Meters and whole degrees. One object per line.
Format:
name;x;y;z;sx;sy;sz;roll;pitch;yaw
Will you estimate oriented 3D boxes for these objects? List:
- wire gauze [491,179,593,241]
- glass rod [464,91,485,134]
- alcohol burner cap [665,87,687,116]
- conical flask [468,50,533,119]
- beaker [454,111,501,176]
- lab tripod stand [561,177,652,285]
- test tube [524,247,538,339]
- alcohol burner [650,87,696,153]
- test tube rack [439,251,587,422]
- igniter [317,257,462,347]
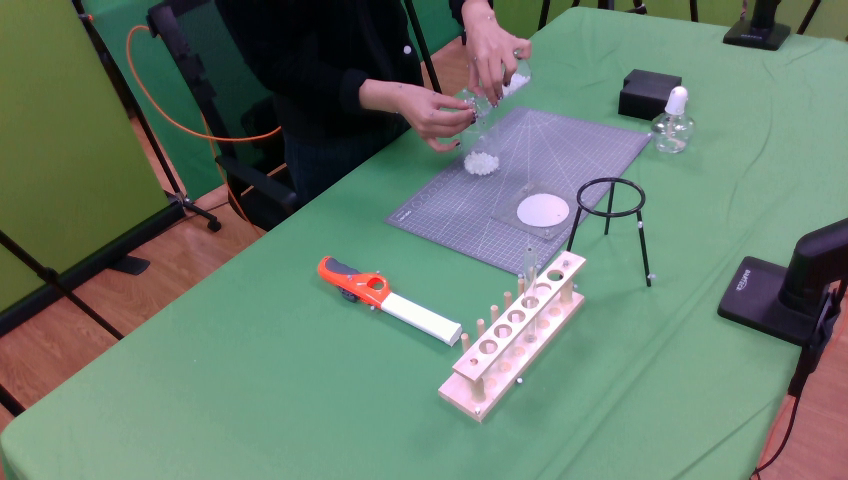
wire gauze;0.198;-0.051;1.014;0.125;0.011;0.120;-38;48;-27
glass rod;0.088;-0.214;1.031;0.008;0.200;0.008;-2;81;13
alcohol burner cap;0.445;-0.244;1.060;0.034;0.048;0.033;-2;45;3
conical flask;0.127;-0.267;1.057;0.074;0.076;0.122;31;73;37
beaker;0.101;-0.174;1.106;0.084;0.101;0.073;-5;40;6
lab tripod stand;0.263;-0.014;0.864;0.148;0.132;0.147;-7;38;6
test tube;0.133;0.070;0.749;0.017;0.151;0.017;-5;38;4
alcohol burner;0.448;-0.217;1.084;0.078;0.119;0.077;-6;38;5
test tube rack;0.118;0.111;0.780;0.066;0.085;0.243;26;51;34
igniter;-0.061;0.086;0.891;0.274;0.025;0.057;23;59;33
